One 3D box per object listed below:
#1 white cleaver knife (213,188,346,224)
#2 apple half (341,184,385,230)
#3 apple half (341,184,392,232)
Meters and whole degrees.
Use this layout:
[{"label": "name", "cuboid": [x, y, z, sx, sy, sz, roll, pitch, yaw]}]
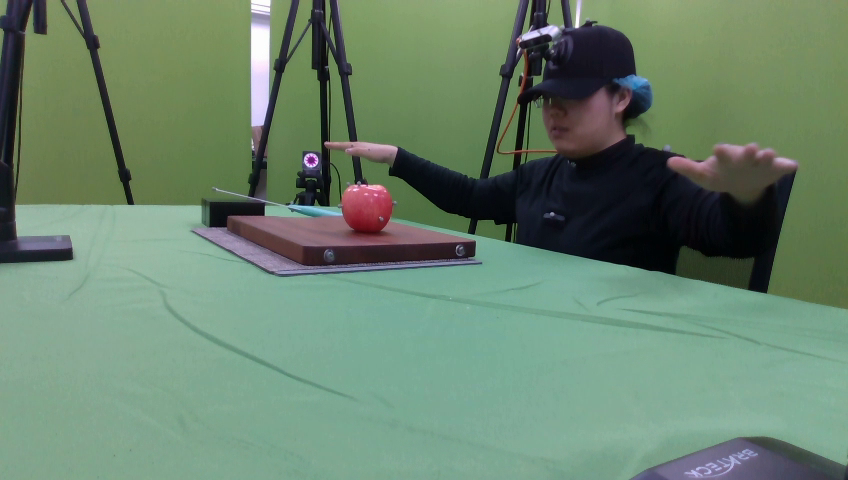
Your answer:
[{"label": "white cleaver knife", "cuboid": [-0.281, -0.067, 1.226, 0.288, 0.021, 0.065, 11, 6, -29]}, {"label": "apple half", "cuboid": [-0.103, -0.055, 0.968, 0.082, 0.081, 0.032, -2, 13, -32]}, {"label": "apple half", "cuboid": [-0.084, -0.048, 0.936, 0.081, 0.074, 0.053, 1, 11, -32]}]
